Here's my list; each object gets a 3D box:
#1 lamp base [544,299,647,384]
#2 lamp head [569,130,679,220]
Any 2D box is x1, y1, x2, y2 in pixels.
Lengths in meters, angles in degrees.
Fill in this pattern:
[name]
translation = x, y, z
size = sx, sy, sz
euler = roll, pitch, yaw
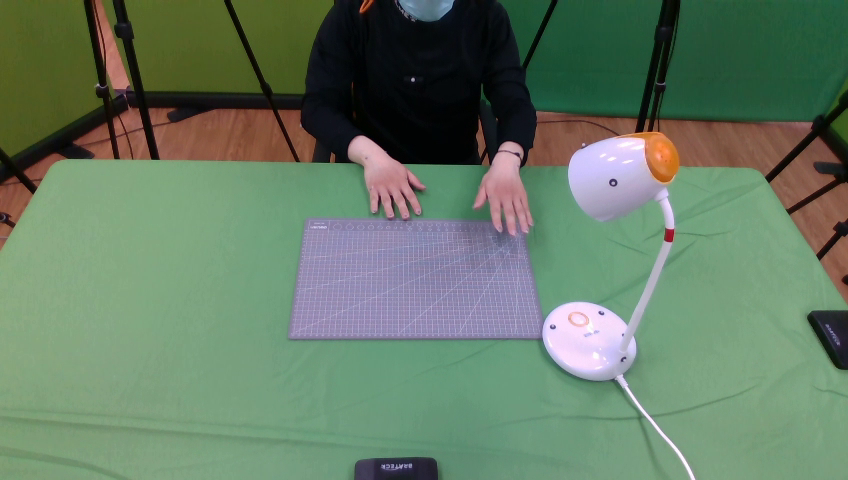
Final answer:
[lamp base]
translation = 0.299, 0.124, 0.984
size = 0.161, 0.181, 0.178
euler = -23, 55, -23
[lamp head]
translation = 0.272, -0.090, 0.798
size = 0.113, 0.122, 0.112
euler = 7, 78, -33
